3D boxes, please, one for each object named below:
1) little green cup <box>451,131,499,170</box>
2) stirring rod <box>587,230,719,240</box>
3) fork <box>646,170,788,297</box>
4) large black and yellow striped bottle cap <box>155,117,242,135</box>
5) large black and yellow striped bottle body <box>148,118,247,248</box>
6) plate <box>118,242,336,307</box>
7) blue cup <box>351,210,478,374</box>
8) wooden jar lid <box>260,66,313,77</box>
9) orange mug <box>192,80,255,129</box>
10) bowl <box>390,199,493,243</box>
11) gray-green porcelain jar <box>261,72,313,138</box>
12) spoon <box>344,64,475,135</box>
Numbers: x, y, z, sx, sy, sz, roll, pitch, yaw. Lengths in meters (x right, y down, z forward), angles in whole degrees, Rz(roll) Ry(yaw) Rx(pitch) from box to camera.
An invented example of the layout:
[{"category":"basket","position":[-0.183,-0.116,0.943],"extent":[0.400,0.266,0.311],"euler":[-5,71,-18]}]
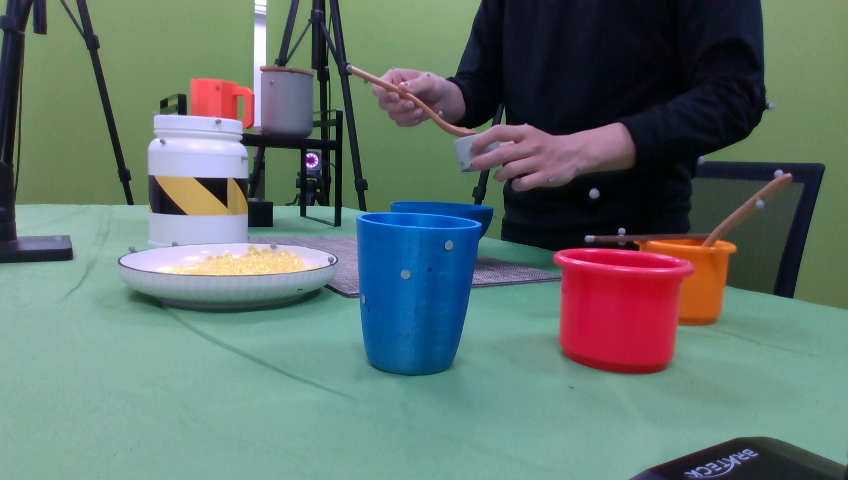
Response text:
[{"category":"little green cup","position":[0.068,-0.114,0.781],"extent":[0.061,0.038,0.061],"euler":[-11,-1,0]},{"category":"stirring rod","position":[0.226,-0.005,0.587],"extent":[0.177,0.006,0.014],"euler":[-2,9,-29]},{"category":"fork","position":[0.256,0.004,0.543],"extent":[0.028,0.018,0.207],"euler":[3,-36,-9]},{"category":"large black and yellow striped bottle cap","position":[-0.313,-0.159,0.845],"extent":[0.115,0.019,0.115],"euler":[3,9,0]},{"category":"large black and yellow striped bottle body","position":[-0.318,-0.076,0.855],"extent":[0.131,0.184,0.130],"euler":[2,7,0]},{"category":"plate","position":[-0.194,0.033,0.615],"extent":[0.209,0.038,0.209],"euler":[2,7,0]},{"category":"blue cup","position":[-0.009,0.034,0.414],"extent":[0.093,0.100,0.092],"euler":[4,8,0]},{"category":"wooden jar lid","position":[-0.283,-0.339,1.244],"extent":[0.108,0.020,0.108],"euler":[6,9,-1]},{"category":"orange mug","position":[-0.389,-0.257,1.172],"extent":[0.126,0.100,0.083],"euler":[-1,6,9]},{"category":"bowl","position":[0.023,-0.016,0.874],"extent":[0.151,0.077,0.151],"euler":[3,7,0]},{"category":"gray-green porcelain jar","position":[-0.284,-0.276,1.253],"extent":[0.106,0.126,0.106],"euler":[2,8,0]},{"category":"spoon","position":[-0.018,-0.188,0.810],"extent":[0.194,0.021,0.041],"euler":[29,16,-13]}]
